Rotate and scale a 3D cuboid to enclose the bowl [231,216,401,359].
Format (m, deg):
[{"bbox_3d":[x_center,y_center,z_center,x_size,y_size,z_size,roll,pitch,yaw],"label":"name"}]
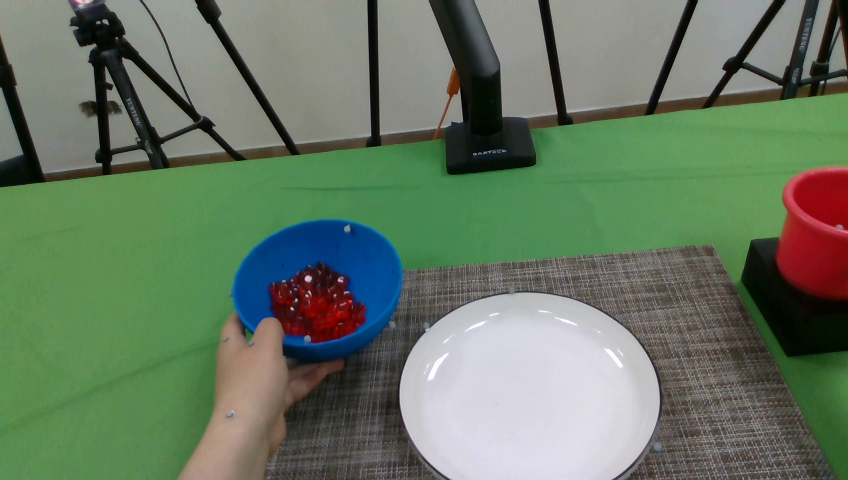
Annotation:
[{"bbox_3d":[-0.094,0.057,0.565,0.151,0.077,0.150,0,47,1],"label":"bowl"}]

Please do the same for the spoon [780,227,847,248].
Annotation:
[{"bbox_3d":[0.342,-0.013,0.443,0.042,0.194,0.021,-17,85,-11],"label":"spoon"}]

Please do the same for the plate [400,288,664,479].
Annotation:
[{"bbox_3d":[0.085,0.124,0.499,0.207,0.039,0.205,-6,39,5],"label":"plate"}]
